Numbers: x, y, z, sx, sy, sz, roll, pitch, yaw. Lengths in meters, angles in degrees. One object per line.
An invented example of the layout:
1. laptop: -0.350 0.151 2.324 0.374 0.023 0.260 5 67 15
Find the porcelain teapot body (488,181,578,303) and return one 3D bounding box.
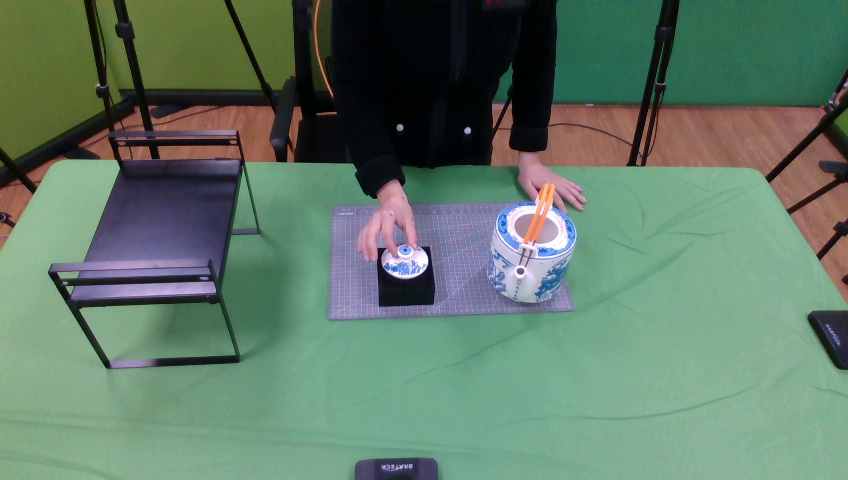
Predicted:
1. porcelain teapot body: 0.185 0.018 1.048 0.145 0.226 0.204 15 48 10

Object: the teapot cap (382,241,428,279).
1. teapot cap: -0.033 0.031 1.075 0.085 0.044 0.084 2 49 -3
